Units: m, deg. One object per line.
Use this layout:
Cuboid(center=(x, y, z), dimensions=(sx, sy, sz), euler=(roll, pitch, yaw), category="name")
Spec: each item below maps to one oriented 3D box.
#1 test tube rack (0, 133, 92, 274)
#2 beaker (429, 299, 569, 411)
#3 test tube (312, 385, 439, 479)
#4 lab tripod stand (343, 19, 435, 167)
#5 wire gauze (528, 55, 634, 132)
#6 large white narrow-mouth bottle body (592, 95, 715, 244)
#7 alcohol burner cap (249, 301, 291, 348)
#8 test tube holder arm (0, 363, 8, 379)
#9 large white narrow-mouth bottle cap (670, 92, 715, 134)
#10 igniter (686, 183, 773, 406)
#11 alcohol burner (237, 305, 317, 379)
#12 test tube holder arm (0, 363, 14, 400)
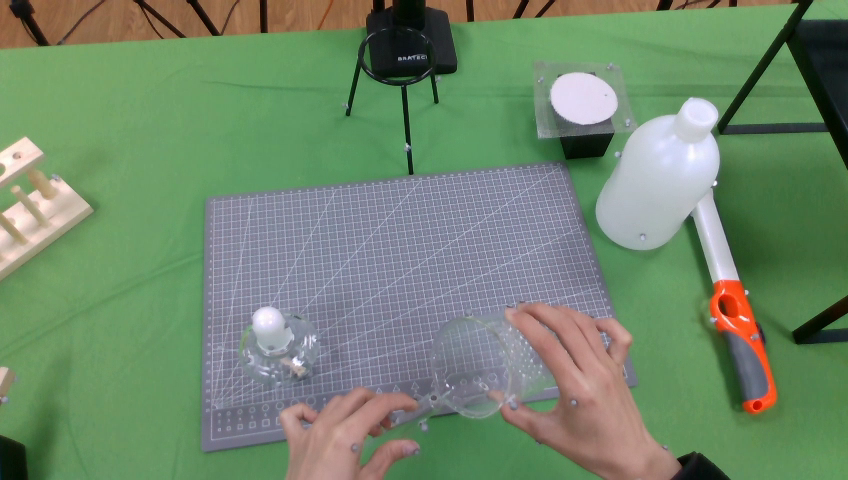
Cuboid(center=(-0.494, 0.000, 0.642), dimensions=(0.066, 0.086, 0.242), euler=(38, 66, 16), category="test tube rack")
Cuboid(center=(0.062, 0.088, 0.480), dimensions=(0.101, 0.084, 0.073), euler=(-4, 52, -48), category="beaker")
Cuboid(center=(-0.043, 0.164, 0.494), dimensions=(0.150, 0.017, 0.017), euler=(-43, 64, 23), category="test tube")
Cuboid(center=(-0.034, -0.184, 0.738), dimensions=(0.148, 0.132, 0.147), euler=(2, 62, -4), category="lab tripod stand")
Cuboid(center=(0.195, -0.187, 0.767), dimensions=(0.121, 0.011, 0.124), euler=(0, 61, -3), category="wire gauze")
Cuboid(center=(0.256, -0.081, 0.662), dimensions=(0.102, 0.196, 0.101), euler=(1, 61, -2), category="large white narrow-mouth bottle body")
Cuboid(center=(-0.144, 0.076, 0.559), dimensions=(0.034, 0.048, 0.033), euler=(0, 56, 1), category="alcohol burner cap")
Cuboid(center=(-0.404, 0.155, 0.549), dimensions=(0.010, 0.015, 0.087), euler=(1, 61, 9), category="test tube holder arm")
Cuboid(center=(0.259, -0.124, 0.588), dimensions=(0.038, 0.024, 0.037), euler=(1, 61, -2), category="large white narrow-mouth bottle cap")
Cuboid(center=(0.341, 0.051, 0.691), dimensions=(0.057, 0.025, 0.274), euler=(4, 61, -13), category="igniter")
Cuboid(center=(-0.146, 0.093, 0.591), dimensions=(0.078, 0.120, 0.077), euler=(2, 60, -3), category="alcohol burner")
Cuboid(center=(-0.402, 0.194, 0.527), dimensions=(0.013, 0.015, 0.177), euler=(1, 61, 8), category="test tube holder arm")
